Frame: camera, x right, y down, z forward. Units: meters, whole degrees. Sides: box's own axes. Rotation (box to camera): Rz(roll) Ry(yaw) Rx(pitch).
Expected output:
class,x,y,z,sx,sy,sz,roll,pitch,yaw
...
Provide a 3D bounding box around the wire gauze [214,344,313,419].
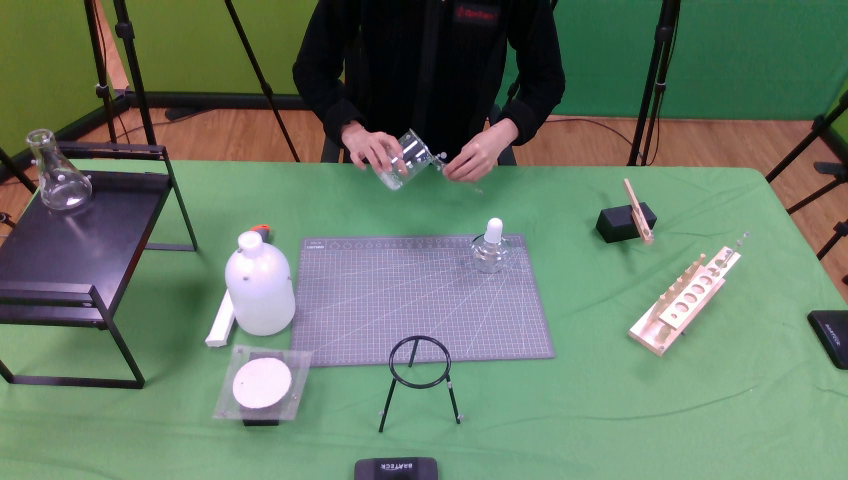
class,x,y,z,sx,sy,sz,roll,pitch,yaw
wire gauze,-0.241,0.213,0.915,0.121,0.011,0.124,5,46,1

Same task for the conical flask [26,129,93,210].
class,x,y,z,sx,sy,sz,roll,pitch,yaw
conical flask,-0.575,-0.113,0.946,0.075,0.122,0.075,2,46,-2

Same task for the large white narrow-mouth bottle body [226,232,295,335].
class,x,y,z,sx,sy,sz,roll,pitch,yaw
large white narrow-mouth bottle body,-0.270,0.065,0.995,0.102,0.195,0.101,2,46,-2

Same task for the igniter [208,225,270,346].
class,x,y,z,sx,sy,sz,roll,pitch,yaw
igniter,-0.331,0.072,1.099,0.057,0.025,0.275,-4,45,10

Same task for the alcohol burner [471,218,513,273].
class,x,y,z,sx,sy,sz,roll,pitch,yaw
alcohol burner,0.128,0.005,1.132,0.078,0.120,0.077,0,47,0

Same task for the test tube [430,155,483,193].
class,x,y,z,sx,sy,sz,roll,pitch,yaw
test tube,0.066,-0.127,1.182,0.151,0.017,0.017,28,29,-42

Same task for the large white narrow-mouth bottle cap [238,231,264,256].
class,x,y,z,sx,sy,sz,roll,pitch,yaw
large white narrow-mouth bottle cap,-0.266,0.006,0.932,0.038,0.024,0.037,2,46,-2

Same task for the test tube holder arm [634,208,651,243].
class,x,y,z,sx,sy,sz,roll,pitch,yaw
test tube holder arm,0.428,-0.030,1.189,0.010,0.015,0.087,1,47,-2

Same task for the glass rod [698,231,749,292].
class,x,y,z,sx,sy,sz,roll,pitch,yaw
glass rod,0.515,0.044,1.051,0.008,0.200,0.008,1,55,-1

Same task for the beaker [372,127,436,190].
class,x,y,z,sx,sy,sz,roll,pitch,yaw
beaker,-0.038,-0.145,1.108,0.100,0.084,0.073,-39,55,9

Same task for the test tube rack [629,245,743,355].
class,x,y,z,sx,sy,sz,roll,pitch,yaw
test tube rack,0.474,0.095,1.091,0.242,0.085,0.066,-34,56,-31

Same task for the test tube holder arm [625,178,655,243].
class,x,y,z,sx,sy,sz,roll,pitch,yaw
test tube holder arm,0.433,-0.063,1.220,0.013,0.015,0.177,1,47,-3

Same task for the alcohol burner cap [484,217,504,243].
class,x,y,z,sx,sy,sz,roll,pitch,yaw
alcohol burner cap,0.130,-0.021,1.107,0.034,0.048,0.033,4,41,-3

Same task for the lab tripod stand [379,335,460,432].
class,x,y,z,sx,sy,sz,roll,pitch,yaw
lab tripod stand,-0.011,0.214,0.911,0.148,0.132,0.147,1,45,0
